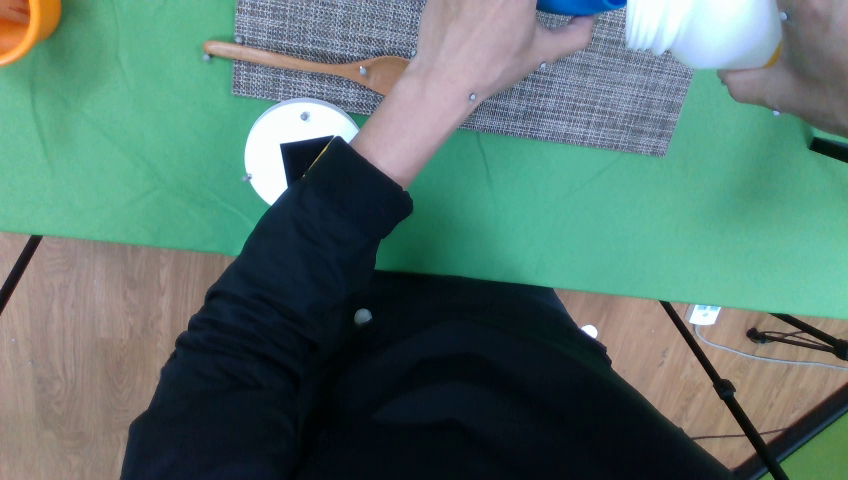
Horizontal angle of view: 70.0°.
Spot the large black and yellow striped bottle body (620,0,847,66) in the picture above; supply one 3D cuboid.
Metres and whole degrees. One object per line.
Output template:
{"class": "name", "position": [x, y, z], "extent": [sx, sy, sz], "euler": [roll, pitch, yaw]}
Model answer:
{"class": "large black and yellow striped bottle body", "position": [0.212, -0.167, 0.344], "extent": [0.183, 0.130, 0.131], "euler": [4, 116, 13]}

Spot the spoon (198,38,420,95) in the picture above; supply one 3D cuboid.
{"class": "spoon", "position": [-0.099, -0.159, 0.538], "extent": [0.194, 0.021, 0.042], "euler": [4, 136, -15]}

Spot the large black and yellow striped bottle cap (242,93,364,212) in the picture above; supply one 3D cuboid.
{"class": "large black and yellow striped bottle cap", "position": [-0.114, -0.081, 0.579], "extent": [0.115, 0.018, 0.116], "euler": [-6, 120, -10]}

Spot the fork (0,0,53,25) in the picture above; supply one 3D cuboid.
{"class": "fork", "position": [-0.359, -0.179, 0.402], "extent": [0.208, 0.018, 0.028], "euler": [-8, 134, -59]}

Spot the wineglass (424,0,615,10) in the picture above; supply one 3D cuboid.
{"class": "wineglass", "position": [0.069, -0.211, 0.454], "extent": [0.074, 0.170, 0.074], "euler": [-17, 116, -38]}
